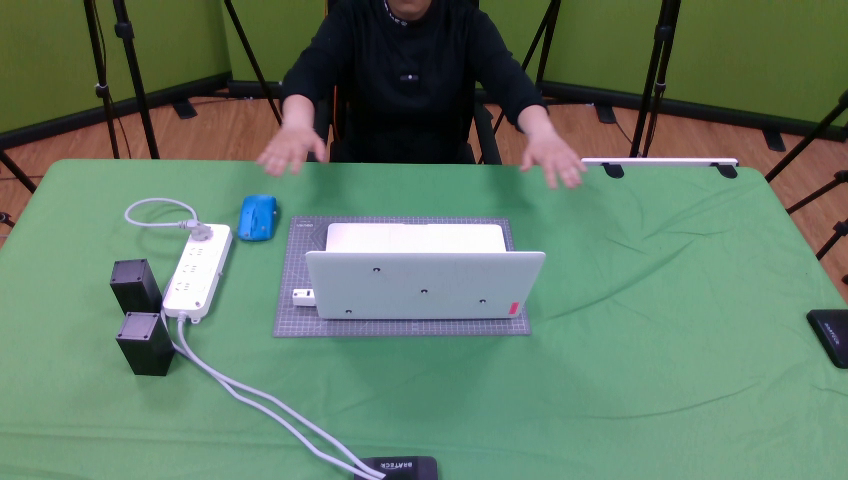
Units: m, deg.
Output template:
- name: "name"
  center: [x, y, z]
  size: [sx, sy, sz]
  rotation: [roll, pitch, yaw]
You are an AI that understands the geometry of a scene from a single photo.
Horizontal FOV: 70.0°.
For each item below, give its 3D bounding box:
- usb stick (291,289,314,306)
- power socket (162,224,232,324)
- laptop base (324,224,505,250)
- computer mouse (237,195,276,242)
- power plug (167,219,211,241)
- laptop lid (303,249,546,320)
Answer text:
- name: "usb stick"
  center: [-0.203, 0.102, 1.066]
  size: [0.059, 0.027, 0.021]
  rotation: [4, 45, -5]
- name: "power socket"
  center: [-0.411, 0.052, 1.106]
  size: [0.072, 0.033, 0.225]
  rotation: [4, 46, -2]
- name: "laptop base"
  center: [-0.014, 0.055, 1.144]
  size: [0.355, 0.023, 0.234]
  rotation: [0, 42, -4]
- name: "computer mouse"
  center: [-0.333, -0.047, 1.207]
  size: [0.063, 0.041, 0.116]
  rotation: [3, 51, -5]
- name: "power plug"
  center: [-0.438, -0.017, 1.143]
  size: [0.072, 0.053, 0.035]
  rotation: [11, 43, 7]
- name: "laptop lid"
  center: [-0.003, 0.077, 0.962]
  size: [0.357, 0.242, 0.013]
  rotation: [1, 58, -5]
